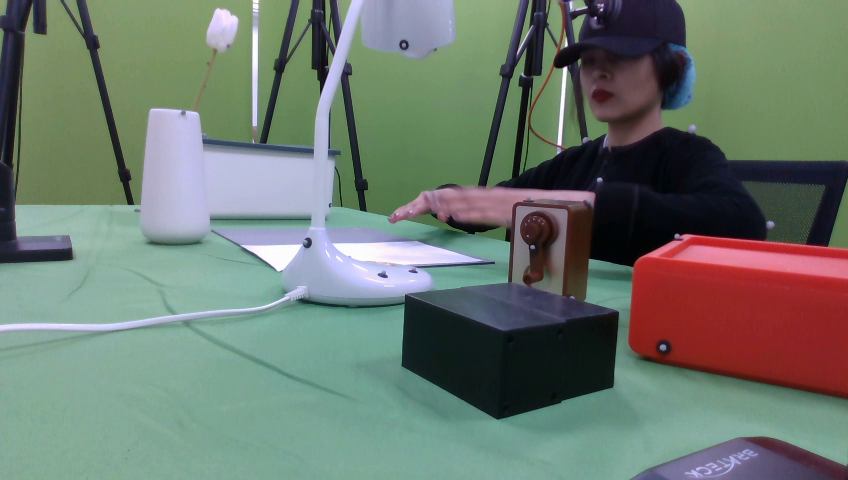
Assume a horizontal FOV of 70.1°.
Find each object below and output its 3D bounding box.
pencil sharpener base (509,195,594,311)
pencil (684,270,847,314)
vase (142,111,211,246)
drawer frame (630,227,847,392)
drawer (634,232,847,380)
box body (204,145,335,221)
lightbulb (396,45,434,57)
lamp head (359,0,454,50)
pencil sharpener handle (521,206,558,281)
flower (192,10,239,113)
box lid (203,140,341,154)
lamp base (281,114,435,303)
[{"bbox_3d":[0.126,0.011,0.602,0.061,0.107,0.077,7,9,31],"label":"pencil sharpener base"},{"bbox_3d":[0.307,0.046,0.517,0.194,0.012,0.012,13,5,-11],"label":"pencil"},{"bbox_3d":[-0.378,-0.093,0.920,0.098,0.200,0.098,2,9,0],"label":"vase"},{"bbox_3d":[0.292,0.043,0.484,0.201,0.082,0.214,7,9,29],"label":"drawer frame"},{"bbox_3d":[0.292,0.045,0.488,0.193,0.073,0.213,7,10,30],"label":"drawer"},{"bbox_3d":[-0.411,-0.135,1.386,0.366,0.160,0.253,-2,9,-29],"label":"box body"},{"bbox_3d":[-0.018,-0.265,0.692,0.059,0.108,0.059,-10,27,6],"label":"lightbulb"},{"bbox_3d":[-0.024,-0.283,0.674,0.112,0.123,0.112,-3,38,3],"label":"lamp head"},{"bbox_3d":[0.101,0.003,0.556,0.036,0.067,0.031,0,5,31],"label":"pencil sharpener handle"},{"bbox_3d":[-0.354,-0.174,0.915,0.038,0.361,0.044,18,-4,11],"label":"flower"},{"bbox_3d":[-0.396,-0.212,1.373,0.373,0.015,0.262,-1,9,-29],"label":"box lid"},{"bbox_3d":[-0.071,-0.035,0.614,0.160,0.180,0.180,6,10,27],"label":"lamp base"}]
